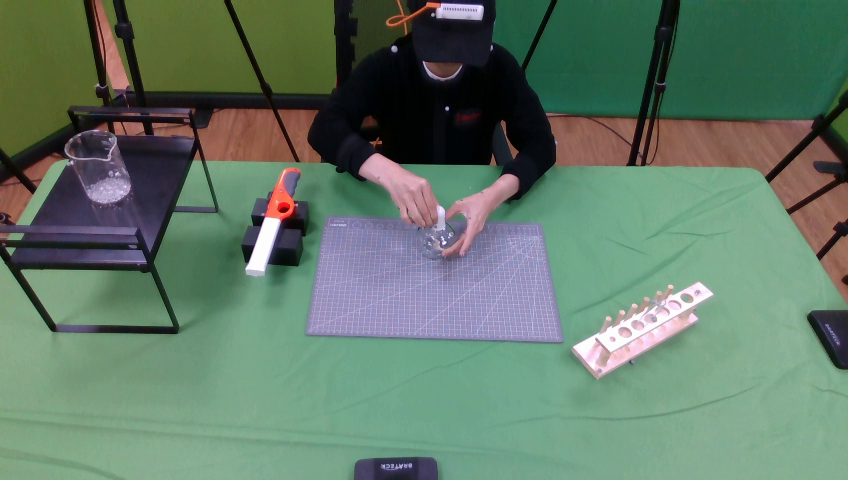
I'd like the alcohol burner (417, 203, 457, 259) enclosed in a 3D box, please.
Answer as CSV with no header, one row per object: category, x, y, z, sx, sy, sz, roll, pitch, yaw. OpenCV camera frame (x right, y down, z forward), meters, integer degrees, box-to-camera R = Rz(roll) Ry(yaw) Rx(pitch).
alcohol burner,0.025,-0.022,1.150,0.078,0.120,0.077,0,45,0

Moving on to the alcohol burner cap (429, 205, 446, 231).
alcohol burner cap,0.027,-0.044,1.125,0.034,0.048,0.033,2,47,-2

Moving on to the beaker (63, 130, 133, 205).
beaker,-0.511,-0.112,0.964,0.083,0.101,0.074,31,52,23

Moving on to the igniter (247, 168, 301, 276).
igniter,-0.282,-0.043,1.149,0.057,0.025,0.275,8,48,-1

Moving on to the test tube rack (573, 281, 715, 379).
test tube rack,0.378,0.141,1.038,0.242,0.085,0.066,-22,51,-23

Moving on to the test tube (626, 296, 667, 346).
test tube,0.352,0.133,0.970,0.017,0.151,0.017,3,54,-4
